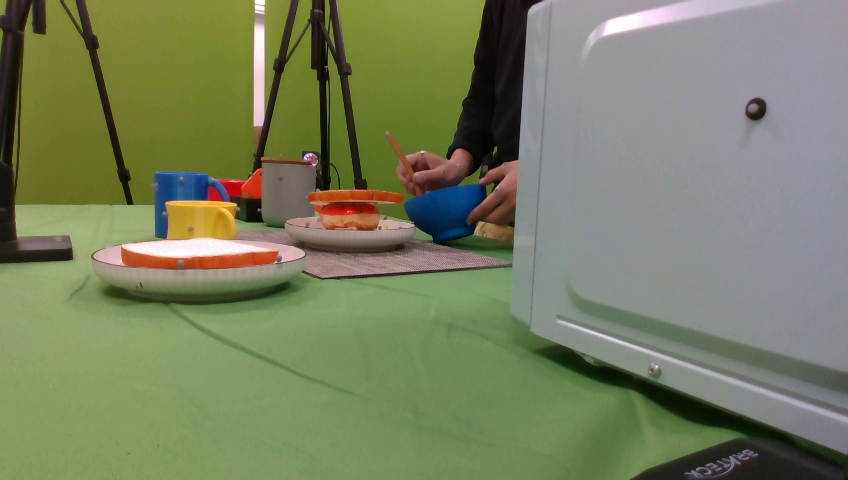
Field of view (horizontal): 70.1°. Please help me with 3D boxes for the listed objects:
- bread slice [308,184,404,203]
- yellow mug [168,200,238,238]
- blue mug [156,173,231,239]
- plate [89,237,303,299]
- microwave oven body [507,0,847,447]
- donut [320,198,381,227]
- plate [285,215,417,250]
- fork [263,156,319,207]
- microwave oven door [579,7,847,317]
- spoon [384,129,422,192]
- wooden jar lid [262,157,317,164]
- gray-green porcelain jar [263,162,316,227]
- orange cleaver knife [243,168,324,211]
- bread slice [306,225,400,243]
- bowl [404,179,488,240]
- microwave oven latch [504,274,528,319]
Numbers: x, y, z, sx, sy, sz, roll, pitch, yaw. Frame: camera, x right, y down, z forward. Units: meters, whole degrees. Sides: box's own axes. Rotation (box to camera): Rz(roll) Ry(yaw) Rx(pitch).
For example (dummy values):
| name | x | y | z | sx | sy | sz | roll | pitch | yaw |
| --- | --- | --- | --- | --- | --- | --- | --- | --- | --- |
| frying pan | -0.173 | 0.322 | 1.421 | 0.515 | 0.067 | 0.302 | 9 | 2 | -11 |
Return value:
| name | x | y | z | sx | sy | sz | roll | pitch | yaw |
| --- | --- | --- | --- | --- | --- | --- | --- | --- | --- |
| bread slice | -0.114 | -0.072 | 0.953 | 0.134 | 0.018 | 0.107 | -3 | -1 | 21 |
| yellow mug | -0.320 | -0.023 | 0.904 | 0.130 | 0.064 | 0.100 | 9 | 10 | 36 |
| blue mug | -0.381 | -0.057 | 1.004 | 0.117 | 0.106 | 0.082 | 0 | 8 | -12 |
| plate | -0.233 | 0.029 | 0.637 | 0.208 | 0.039 | 0.207 | 2 | 7 | 0 |
| microwave oven body | 0.331 | -0.042 | 0.425 | 0.444 | 0.260 | 0.324 | -2 | 8 | -31 |
| donut | -0.117 | -0.042 | 0.965 | 0.099 | 0.048 | 0.099 | -9 | -7 | -1 |
| plate | -0.116 | -0.014 | 0.964 | 0.209 | 0.038 | 0.209 | 2 | 7 | 0 |
| fork | -0.331 | -0.144 | 1.505 | 0.207 | 0.018 | 0.028 | -42 | -21 | 22 |
| microwave oven door | 0.294 | -0.067 | 0.570 | 0.358 | 0.243 | 0.039 | -3 | 9 | -31 |
| spoon | -0.020 | -0.110 | 1.067 | 0.021 | 0.194 | 0.042 | -15 | 20 | 34 |
| wooden jar lid | -0.269 | -0.154 | 1.208 | 0.108 | 0.020 | 0.108 | 3 | 4 | 0 |
| gray-green porcelain jar | -0.271 | -0.092 | 1.217 | 0.106 | 0.126 | 0.106 | 2 | 7 | 0 |
| orange cleaver knife | -0.300 | -0.089 | 1.351 | 0.212 | 0.077 | 0.012 | 29 | -9 | -34 |
| bread slice | -0.103 | -0.010 | 0.961 | 0.131 | 0.019 | 0.105 | 3 | 8 | 24 |
| bowl | 0.046 | -0.047 | 1.058 | 0.151 | 0.076 | 0.151 | -13 | -7 | -1 |
| microwave oven latch | 0.100 | 0.041 | 0.471 | 0.079 | 0.029 | 0.030 | -1 | 7 | -28 |
